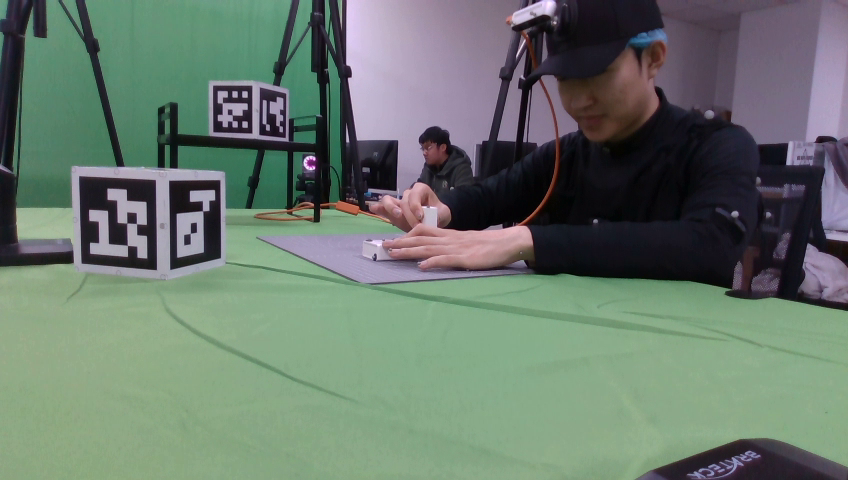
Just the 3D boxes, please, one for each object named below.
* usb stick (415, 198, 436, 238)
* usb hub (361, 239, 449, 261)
[{"bbox_3d":[0.002,-0.034,0.900,0.027,0.059,0.021,1,17,27],"label":"usb stick"},{"bbox_3d":[-0.027,0.014,0.894,0.126,0.025,0.049,-1,8,-33],"label":"usb hub"}]
